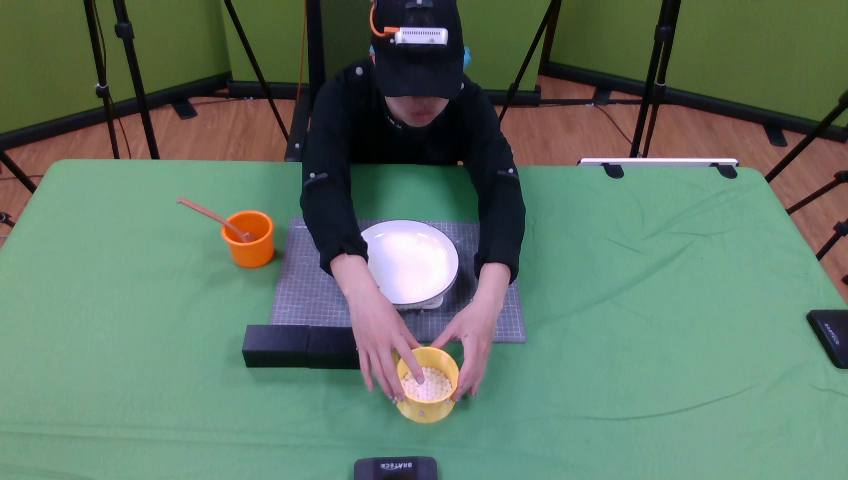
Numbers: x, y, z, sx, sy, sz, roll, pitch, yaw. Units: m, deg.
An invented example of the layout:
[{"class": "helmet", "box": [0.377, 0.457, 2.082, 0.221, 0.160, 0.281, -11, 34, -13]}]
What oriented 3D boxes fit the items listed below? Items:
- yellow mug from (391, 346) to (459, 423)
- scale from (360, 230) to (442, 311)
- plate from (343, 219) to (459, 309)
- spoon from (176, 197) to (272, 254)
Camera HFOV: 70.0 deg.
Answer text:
[{"class": "yellow mug", "box": [-0.008, 0.217, 0.957, 0.100, 0.064, 0.130, -34, 57, -30]}, {"class": "scale", "box": [-0.042, 0.048, 1.138, 0.149, 0.032, 0.199, 2, 46, -3]}, {"class": "plate", "box": [-0.041, 0.046, 1.094, 0.209, 0.038, 0.208, 1, 46, -1]}, {"class": "spoon", "box": [-0.362, -0.027, 1.108, 0.021, 0.195, 0.041, -35, 36, 24]}]
